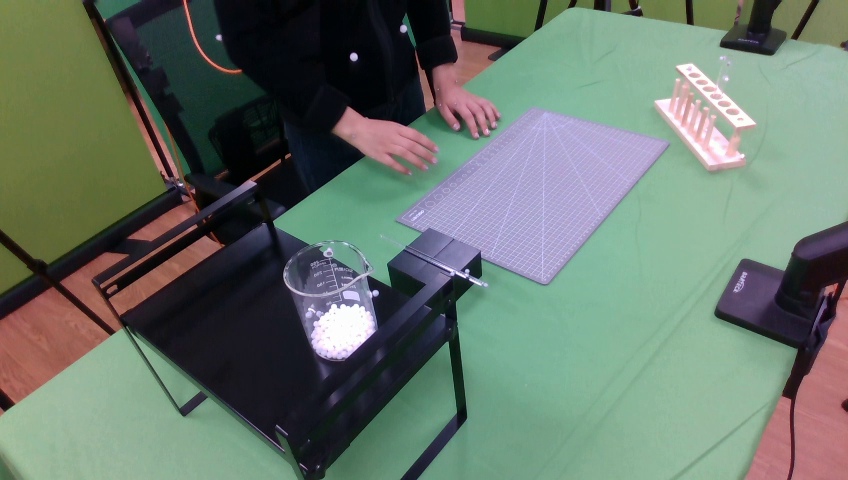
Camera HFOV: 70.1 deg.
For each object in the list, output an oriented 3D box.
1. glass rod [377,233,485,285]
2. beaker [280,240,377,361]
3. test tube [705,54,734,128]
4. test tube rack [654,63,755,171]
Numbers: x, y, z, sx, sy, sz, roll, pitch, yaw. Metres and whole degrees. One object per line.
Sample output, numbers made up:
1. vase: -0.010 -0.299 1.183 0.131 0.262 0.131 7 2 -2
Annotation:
1. glass rod: 0.005 0.025 0.877 0.198 0.008 0.008 24 50 31
2. beaker: -0.084 0.061 0.580 0.084 0.101 0.073 -3 41 5
3. test tube: 0.523 -0.260 1.073 0.017 0.151 0.017 -4 46 4
4. test tube rack: 0.510 -0.233 1.120 0.067 0.085 0.241 -8 41 -1
